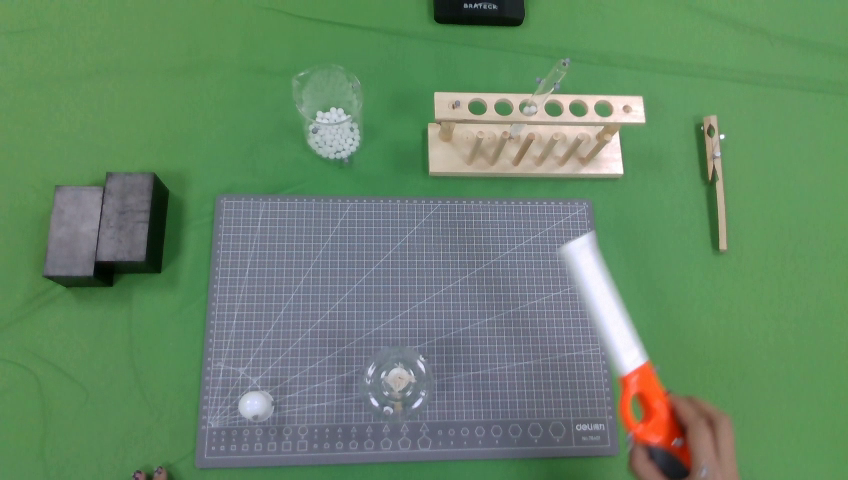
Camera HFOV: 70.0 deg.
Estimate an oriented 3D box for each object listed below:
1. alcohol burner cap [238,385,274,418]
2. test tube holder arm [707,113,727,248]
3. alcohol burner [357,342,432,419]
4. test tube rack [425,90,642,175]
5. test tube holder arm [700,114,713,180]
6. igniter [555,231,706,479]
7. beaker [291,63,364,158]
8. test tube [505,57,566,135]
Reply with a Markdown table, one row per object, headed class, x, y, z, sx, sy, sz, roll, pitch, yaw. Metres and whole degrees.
| class | x | y | z | sx | sy | sz | roll | pitch | yaw |
| --- | --- | --- | --- | --- | --- | --- | --- | --- | --- |
| alcohol burner cap | -0.175 | 0.166 | 0.626 | 0.034 | 0.048 | 0.033 | 2 | 74 | -5 |
| test tube holder arm | 0.369 | -0.077 | 0.765 | 0.013 | 0.015 | 0.177 | -8 | 72 | 27 |
| alcohol burner | -0.029 | 0.140 | 0.612 | 0.078 | 0.119 | 0.077 | 2 | 71 | -6 |
| test tube rack | 0.126 | -0.126 | 0.722 | 0.243 | 0.085 | 0.066 | 0 | 73 | -6 |
| test tube holder arm | 0.364 | -0.119 | 0.780 | 0.010 | 0.015 | 0.087 | -7 | 73 | 28 |
| igniter | 0.193 | 0.123 | 0.555 | 0.057 | 0.025 | 0.276 | -24 | 88 | -22 |
| beaker | -0.111 | -0.145 | 0.696 | 0.084 | 0.100 | 0.073 | 27 | 72 | 4 |
| test tube | 0.121 | -0.156 | 0.678 | 0.017 | 0.150 | 0.017 | 4 | 72 | -11 |
